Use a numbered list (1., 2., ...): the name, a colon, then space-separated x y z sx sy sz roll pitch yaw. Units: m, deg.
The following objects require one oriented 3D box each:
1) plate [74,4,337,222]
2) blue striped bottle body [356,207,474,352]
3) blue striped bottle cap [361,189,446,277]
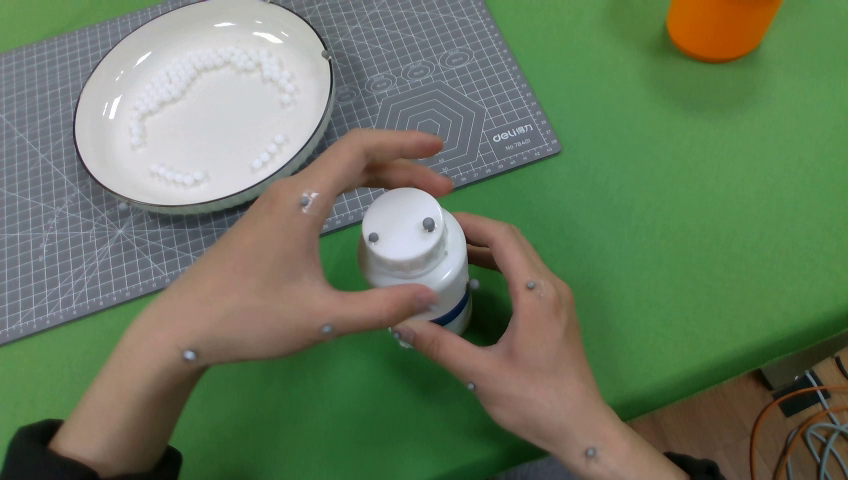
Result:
1. plate: -0.170 -0.102 0.489 0.207 0.039 0.206 -2 63 5
2. blue striped bottle body: -0.004 0.021 0.365 0.063 0.122 0.062 -3 62 6
3. blue striped bottle cap: -0.011 -0.004 0.317 0.044 0.021 0.044 -2 64 4
